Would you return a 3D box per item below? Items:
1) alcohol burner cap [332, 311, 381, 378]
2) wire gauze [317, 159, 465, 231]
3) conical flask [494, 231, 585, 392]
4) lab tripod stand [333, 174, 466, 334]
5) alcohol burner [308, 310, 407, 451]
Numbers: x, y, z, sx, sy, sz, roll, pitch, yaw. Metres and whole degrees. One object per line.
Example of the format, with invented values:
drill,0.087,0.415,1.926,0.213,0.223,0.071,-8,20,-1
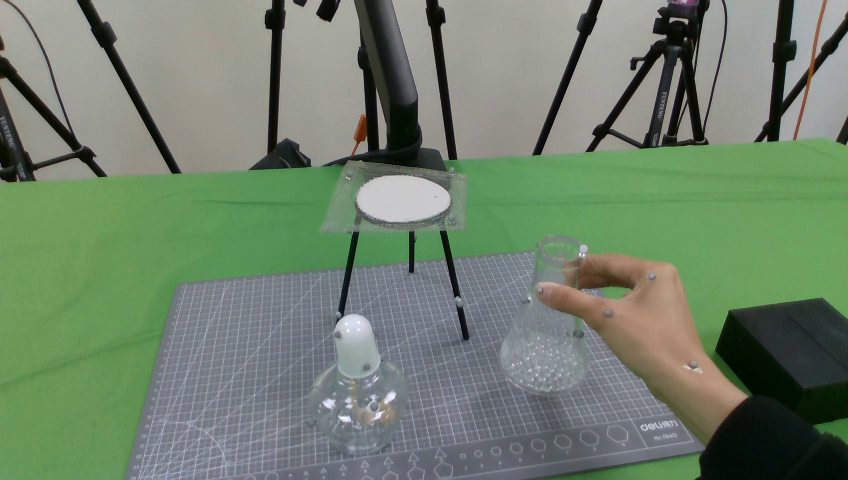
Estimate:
alcohol burner cap,-0.051,0.074,0.445,0.034,0.048,0.033,-4,37,3
wire gauze,-0.024,-0.041,0.547,0.121,0.011,0.124,4,34,2
conical flask,0.097,0.053,0.476,0.075,0.123,0.074,1,33,0
lab tripod stand,-0.018,0.015,0.585,0.148,0.132,0.147,3,33,-1
alcohol burner,-0.052,0.104,0.465,0.078,0.120,0.077,0,32,0
